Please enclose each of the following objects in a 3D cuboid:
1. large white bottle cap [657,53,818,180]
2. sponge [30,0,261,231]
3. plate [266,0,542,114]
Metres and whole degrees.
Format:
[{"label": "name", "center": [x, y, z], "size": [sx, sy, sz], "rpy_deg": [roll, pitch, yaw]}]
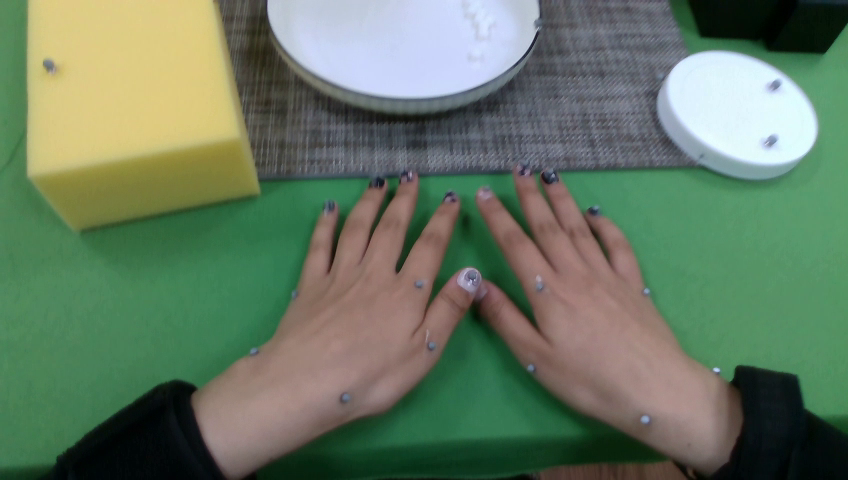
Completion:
[{"label": "large white bottle cap", "center": [0.234, -0.095, 0.454], "size": [0.115, 0.018, 0.114], "rpy_deg": [3, 59, -4]}, {"label": "sponge", "center": [-0.192, -0.116, 0.415], "size": [0.118, 0.061, 0.205], "rpy_deg": [-14, 61, -12]}, {"label": "plate", "center": [-0.014, -0.172, 0.472], "size": [0.209, 0.038, 0.207], "rpy_deg": [2, 59, -3]}]
